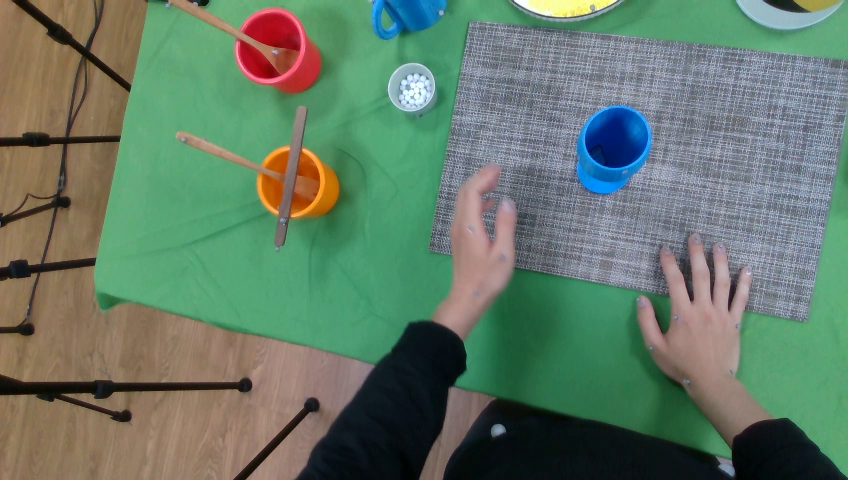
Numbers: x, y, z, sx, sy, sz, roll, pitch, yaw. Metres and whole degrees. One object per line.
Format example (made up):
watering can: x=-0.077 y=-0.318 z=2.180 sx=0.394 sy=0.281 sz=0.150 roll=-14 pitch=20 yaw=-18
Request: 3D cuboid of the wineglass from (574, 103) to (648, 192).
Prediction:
wineglass: x=0.198 y=-0.095 z=0.657 sx=0.073 sy=0.173 sz=0.073 roll=0 pitch=87 yaw=13

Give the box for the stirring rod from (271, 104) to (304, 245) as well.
stirring rod: x=-0.169 y=-0.080 z=0.749 sx=0.014 sy=0.006 sz=0.176 roll=10 pitch=91 yaw=13

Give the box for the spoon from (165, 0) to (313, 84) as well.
spoon: x=-0.231 y=-0.258 z=0.774 sx=0.195 sy=0.021 sz=0.041 roll=25 pitch=96 yaw=-32

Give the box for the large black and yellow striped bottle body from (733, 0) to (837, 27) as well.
large black and yellow striped bottle body: x=0.401 y=-0.314 z=0.619 sx=0.130 sy=0.184 sz=0.130 roll=0 pitch=88 yaw=13

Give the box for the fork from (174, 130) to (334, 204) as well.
fork: x=-0.208 y=-0.091 z=0.761 sx=0.209 sy=0.018 sz=0.028 roll=22 pitch=101 yaw=-31

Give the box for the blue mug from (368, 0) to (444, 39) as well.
blue mug: x=-0.033 y=-0.306 z=0.752 sx=0.082 sy=0.106 sz=0.116 roll=31 pitch=95 yaw=12

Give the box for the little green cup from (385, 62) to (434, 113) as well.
little green cup: x=-0.016 y=-0.193 z=0.779 sx=0.061 sy=0.039 sz=0.061 roll=0 pitch=89 yaw=13

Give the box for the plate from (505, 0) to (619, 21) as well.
plate: x=0.174 y=-0.368 z=0.744 sx=0.208 sy=0.038 sz=0.209 roll=0 pitch=89 yaw=12
